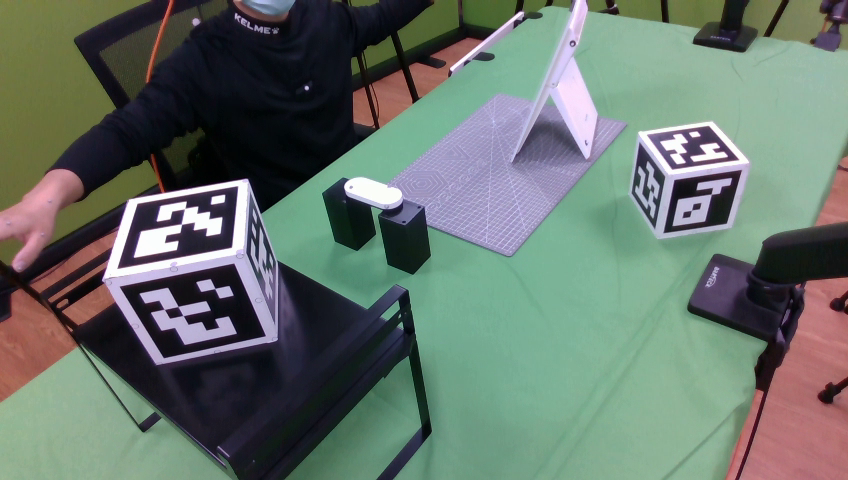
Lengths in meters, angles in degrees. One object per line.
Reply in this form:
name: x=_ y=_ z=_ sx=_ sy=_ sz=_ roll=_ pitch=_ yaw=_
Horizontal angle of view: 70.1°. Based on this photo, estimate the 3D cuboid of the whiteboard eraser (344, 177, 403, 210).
whiteboard eraser: x=-0.077 y=-0.071 z=0.911 sx=0.100 sy=0.019 sz=0.041 roll=20 pitch=50 yaw=29

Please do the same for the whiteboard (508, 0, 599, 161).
whiteboard: x=0.285 y=-0.289 z=1.090 sx=0.144 sy=0.305 sz=0.217 roll=22 pitch=45 yaw=3
